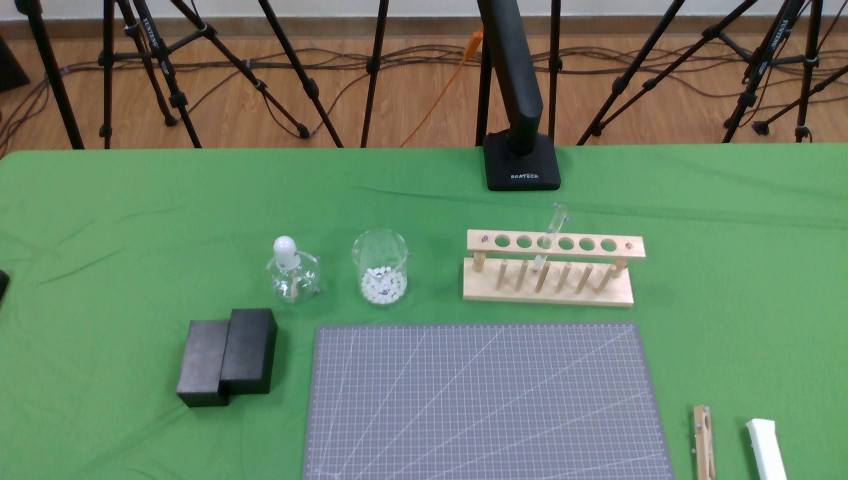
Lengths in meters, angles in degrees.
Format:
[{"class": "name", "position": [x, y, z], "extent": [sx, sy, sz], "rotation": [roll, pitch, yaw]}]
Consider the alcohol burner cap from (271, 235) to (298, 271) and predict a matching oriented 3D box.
[{"class": "alcohol burner cap", "position": [-0.187, 0.015, 0.805], "extent": [0.034, 0.048, 0.033], "rotation": [1, 49, 0]}]

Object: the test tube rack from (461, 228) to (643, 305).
[{"class": "test tube rack", "position": [0.177, 0.039, 0.858], "extent": [0.242, 0.086, 0.066], "rotation": [2, 56, 0]}]

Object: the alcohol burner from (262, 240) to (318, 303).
[{"class": "alcohol burner", "position": [-0.187, 0.035, 0.835], "extent": [0.078, 0.120, 0.077], "rotation": [1, 54, -1]}]

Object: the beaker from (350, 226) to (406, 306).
[{"class": "beaker", "position": [-0.062, 0.042, 0.842], "extent": [0.074, 0.101, 0.083], "rotation": [2, 56, 0]}]

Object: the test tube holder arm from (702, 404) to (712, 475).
[{"class": "test tube holder arm", "position": [0.350, 0.250, 0.760], "extent": [0.010, 0.015, 0.087], "rotation": [28, 54, -21]}]

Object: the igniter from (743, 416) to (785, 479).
[{"class": "igniter", "position": [0.413, 0.340, 0.693], "extent": [0.057, 0.025, 0.274], "rotation": [9, 56, -7]}]

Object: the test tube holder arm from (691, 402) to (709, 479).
[{"class": "test tube holder arm", "position": [0.338, 0.284, 0.733], "extent": [0.013, 0.015, 0.177], "rotation": [27, 54, -22]}]

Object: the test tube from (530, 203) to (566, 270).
[{"class": "test tube", "position": [0.167, -0.001, 0.824], "extent": [0.017, 0.151, 0.017], "rotation": [2, 57, -3]}]
